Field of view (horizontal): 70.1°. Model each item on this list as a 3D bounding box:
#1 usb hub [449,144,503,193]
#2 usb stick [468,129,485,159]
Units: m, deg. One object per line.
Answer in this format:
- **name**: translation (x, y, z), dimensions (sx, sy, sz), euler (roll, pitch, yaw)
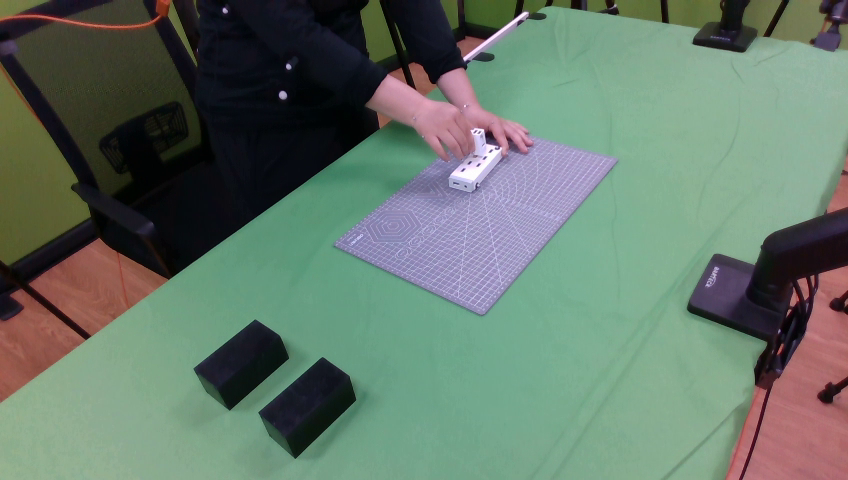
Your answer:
- **usb hub**: translation (0.096, -0.132, 1.105), dimensions (0.049, 0.025, 0.125), euler (18, 47, 27)
- **usb stick**: translation (0.096, -0.170, 1.095), dimensions (0.027, 0.059, 0.021), euler (16, 44, 22)
